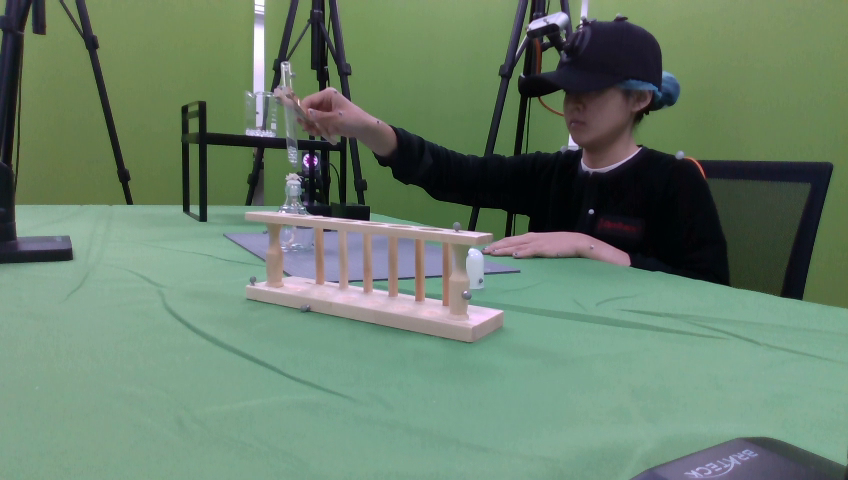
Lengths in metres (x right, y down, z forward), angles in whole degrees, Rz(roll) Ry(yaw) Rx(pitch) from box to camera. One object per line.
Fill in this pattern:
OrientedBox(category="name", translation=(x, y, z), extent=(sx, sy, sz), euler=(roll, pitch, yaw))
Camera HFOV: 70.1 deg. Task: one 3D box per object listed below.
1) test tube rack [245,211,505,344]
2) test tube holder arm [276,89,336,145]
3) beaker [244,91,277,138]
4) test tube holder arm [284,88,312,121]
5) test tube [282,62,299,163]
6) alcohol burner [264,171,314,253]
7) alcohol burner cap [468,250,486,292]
OrientedBox(category="test tube rack", translation=(-0.049, 0.025, 0.547), extent=(0.241, 0.085, 0.067), euler=(7, 8, 29))
OrientedBox(category="test tube holder arm", translation=(-0.181, -0.189, 0.946), extent=(0.013, 0.015, 0.179), euler=(-3, -14, 16))
OrientedBox(category="beaker", translation=(-0.368, -0.280, 1.356), extent=(0.074, 0.100, 0.084), euler=(4, 8, 6))
OrientedBox(category="test tube holder arm", translation=(-0.187, -0.200, 0.903), extent=(0.010, 0.015, 0.088), euler=(-1, -14, 9))
OrientedBox(category="test tube", translation=(-0.195, -0.185, 0.880), extent=(0.017, 0.150, 0.017), euler=(-5, -6, 0))
OrientedBox(category="alcohol burner", translation=(-0.194, -0.042, 0.888), extent=(0.078, 0.119, 0.078), euler=(3, 5, 0))
OrientedBox(category="alcohol burner cap", translation=(0.056, 0.035, 0.690), extent=(0.034, 0.048, 0.034), euler=(2, 7, 0))
